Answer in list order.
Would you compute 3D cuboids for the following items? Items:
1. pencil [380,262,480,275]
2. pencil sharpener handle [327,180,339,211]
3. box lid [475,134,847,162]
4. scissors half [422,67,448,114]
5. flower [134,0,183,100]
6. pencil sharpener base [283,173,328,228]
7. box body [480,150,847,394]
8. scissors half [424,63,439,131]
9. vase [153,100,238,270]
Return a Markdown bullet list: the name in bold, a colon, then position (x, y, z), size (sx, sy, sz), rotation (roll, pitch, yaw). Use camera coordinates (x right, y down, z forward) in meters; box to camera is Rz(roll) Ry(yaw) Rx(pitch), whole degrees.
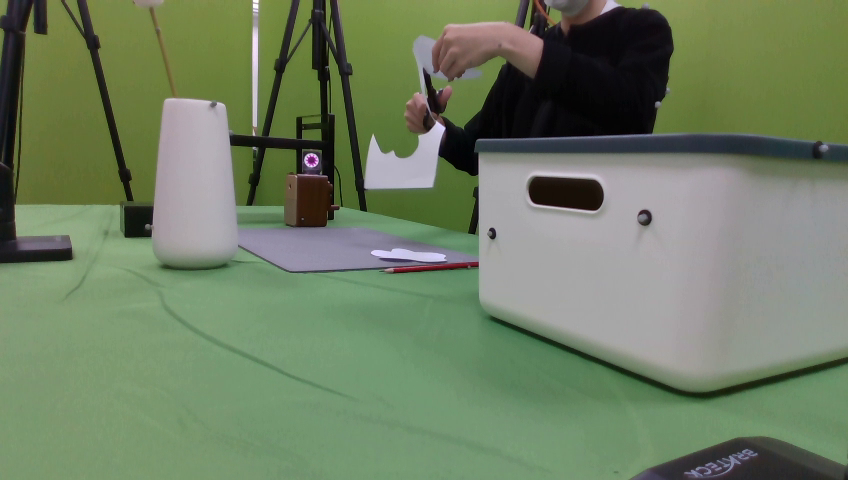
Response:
- **pencil**: position (0.030, 0.036, 0.794), size (0.195, 0.012, 0.012), rotation (-3, 9, -30)
- **pencil sharpener handle**: position (-0.194, -0.094, 1.256), size (0.031, 0.067, 0.036), rotation (-2, -6, -36)
- **box lid**: position (0.256, -0.073, 0.528), size (0.373, 0.015, 0.262), rotation (-2, 8, -31)
- **scissors half**: position (0.018, -0.273, 1.093), size (0.013, 0.040, 0.175), rotation (21, -3, 17)
- **flower**: position (-0.282, -0.147, 0.713), size (0.038, 0.362, 0.044), rotation (-23, 24, -31)
- **pencil sharpener base**: position (-0.239, -0.081, 1.231), size (0.077, 0.107, 0.061), rotation (-2, 8, -36)
- **box body**: position (0.254, 0.001, 0.539), size (0.366, 0.160, 0.253), rotation (-2, 9, -31)
- **scissors half**: position (0.008, -0.255, 1.088), size (0.013, 0.040, 0.175), rotation (26, -25, 18)
- **vase**: position (-0.278, -0.066, 0.736), size (0.098, 0.200, 0.098), rotation (2, 9, 0)
